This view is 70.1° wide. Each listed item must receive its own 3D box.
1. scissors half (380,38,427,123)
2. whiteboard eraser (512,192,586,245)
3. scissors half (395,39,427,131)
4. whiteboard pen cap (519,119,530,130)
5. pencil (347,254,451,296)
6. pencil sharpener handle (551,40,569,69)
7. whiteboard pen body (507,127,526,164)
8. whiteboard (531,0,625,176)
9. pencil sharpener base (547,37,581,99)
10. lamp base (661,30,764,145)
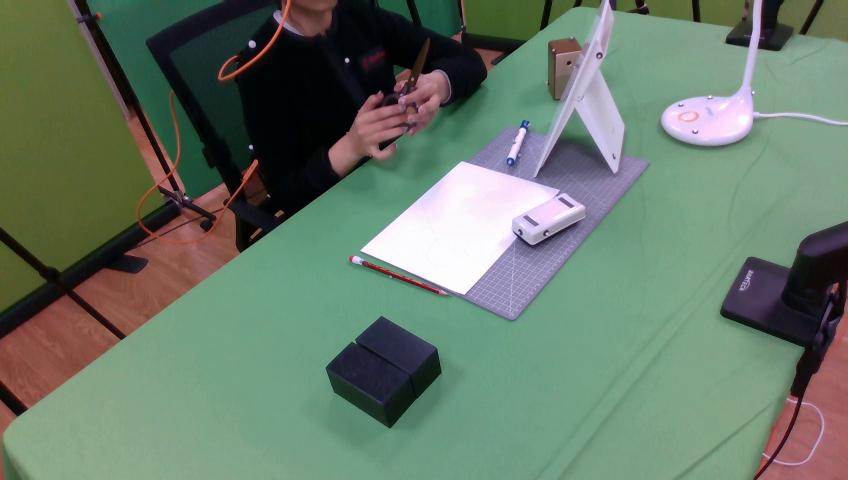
[{"bbox_3d":[-0.035,-0.282,1.076,0.040,0.175,0.013,33,35,-3],"label":"scissors half"},{"bbox_3d":[0.199,-0.032,0.962,0.113,0.042,0.055,-27,43,-20],"label":"whiteboard eraser"},{"bbox_3d":[-0.017,-0.273,1.074,0.040,0.175,0.013,23,35,10],"label":"scissors half"},{"bbox_3d":[0.199,-0.226,1.204,0.018,0.018,0.033,7,41,18],"label":"whiteboard pen cap"},{"bbox_3d":[-0.042,0.055,0.935,0.192,0.012,0.012,19,48,27],"label":"pencil"},{"bbox_3d":[0.291,-0.410,1.320,0.036,0.068,0.030,3,40,-7],"label":"pencil sharpener handle"},{"bbox_3d":[0.181,-0.189,1.162,0.017,0.017,0.140,8,42,19],"label":"whiteboard pen body"},{"bbox_3d":[0.320,-0.258,1.050,0.144,0.306,0.217,22,45,5],"label":"whiteboard"},{"bbox_3d":[0.299,-0.368,1.290,0.061,0.107,0.076,-8,40,3],"label":"pencil sharpener base"},{"bbox_3d":[0.535,-0.287,1.096,0.179,0.181,0.159,-10,40,-4],"label":"lamp base"}]
